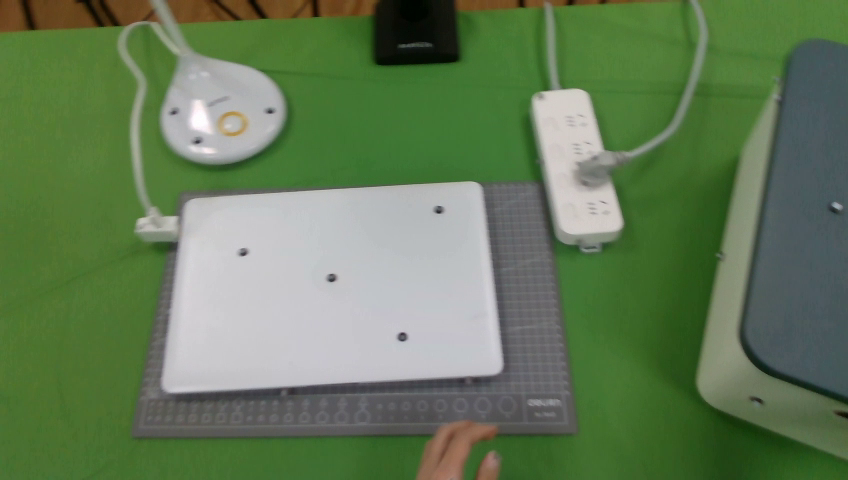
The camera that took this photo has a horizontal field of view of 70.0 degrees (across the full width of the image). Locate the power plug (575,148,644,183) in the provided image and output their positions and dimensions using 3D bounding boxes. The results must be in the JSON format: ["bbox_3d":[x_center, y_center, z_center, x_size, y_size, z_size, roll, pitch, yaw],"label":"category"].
[{"bbox_3d":[0.211,-0.080,0.696,0.072,0.053,0.035,6,61,4],"label":"power plug"}]

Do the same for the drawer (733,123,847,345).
[{"bbox_3d":[0.446,0.002,0.625,0.194,0.074,0.210,18,68,11],"label":"drawer"}]

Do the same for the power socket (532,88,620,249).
[{"bbox_3d":[0.180,-0.096,0.732,0.072,0.033,0.224,-3,62,-1],"label":"power socket"}]

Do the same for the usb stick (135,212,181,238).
[{"bbox_3d":[-0.300,-0.017,0.704,0.059,0.027,0.021,0,58,0],"label":"usb stick"}]

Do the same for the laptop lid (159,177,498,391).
[{"bbox_3d":[-0.104,0.040,0.667,0.357,0.013,0.239,-2,65,2],"label":"laptop lid"}]

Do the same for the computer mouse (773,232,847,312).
[{"bbox_3d":[0.428,0.035,0.627,0.116,0.041,0.062,23,73,18],"label":"computer mouse"}]

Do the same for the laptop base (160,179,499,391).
[{"bbox_3d":[-0.103,0.044,0.678,0.354,0.023,0.233,-4,65,1],"label":"laptop base"}]

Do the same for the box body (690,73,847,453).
[{"bbox_3d":[0.432,0.017,0.587,0.253,0.161,0.362,19,65,12],"label":"box body"}]

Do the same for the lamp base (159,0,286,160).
[{"bbox_3d":[-0.273,-0.216,0.732,0.160,0.182,0.177,-37,64,-16],"label":"lamp base"}]

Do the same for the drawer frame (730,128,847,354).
[{"bbox_3d":[0.442,0.007,0.627,0.201,0.083,0.212,18,59,10],"label":"drawer frame"}]

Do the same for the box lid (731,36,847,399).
[{"bbox_3d":[0.429,-0.021,0.522,0.262,0.015,0.369,20,66,12],"label":"box lid"}]
